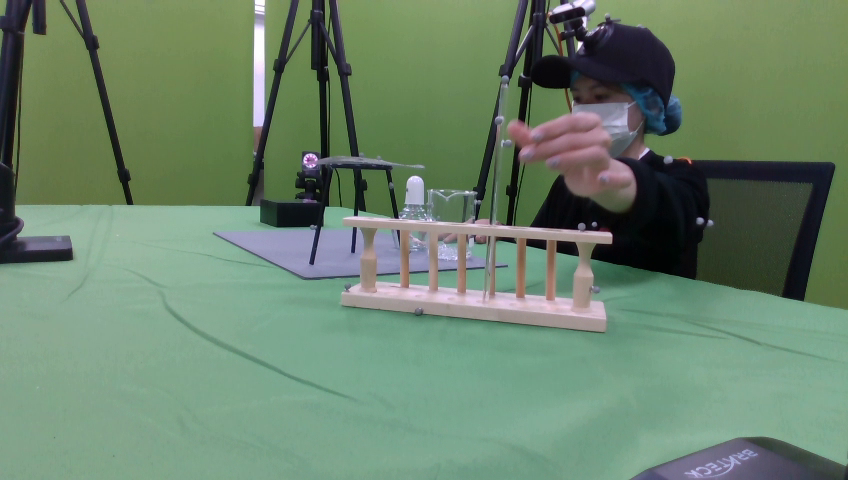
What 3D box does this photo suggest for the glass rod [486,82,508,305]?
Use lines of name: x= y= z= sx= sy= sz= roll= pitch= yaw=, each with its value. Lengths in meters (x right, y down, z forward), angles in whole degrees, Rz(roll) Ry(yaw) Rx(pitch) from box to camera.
glass rod: x=0.063 y=-0.035 z=0.528 sx=0.008 sy=0.199 sz=0.008 roll=2 pitch=13 yaw=0

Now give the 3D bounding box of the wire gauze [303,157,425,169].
wire gauze: x=-0.082 y=-0.102 z=0.799 sx=0.126 sy=0.011 sz=0.121 roll=-1 pitch=7 yaw=-30

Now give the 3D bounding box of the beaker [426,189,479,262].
beaker: x=0.039 y=-0.022 z=0.871 sx=0.074 sy=0.100 sz=0.084 roll=4 pitch=8 yaw=12

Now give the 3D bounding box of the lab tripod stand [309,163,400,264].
lab tripod stand: x=-0.091 y=-0.037 z=0.813 sx=0.148 sy=0.131 sz=0.148 roll=1 pitch=6 yaw=0

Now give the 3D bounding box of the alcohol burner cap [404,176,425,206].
alcohol burner cap: x=-0.015 y=-0.077 z=0.951 sx=0.034 sy=0.048 sz=0.034 roll=2 pitch=4 yaw=0

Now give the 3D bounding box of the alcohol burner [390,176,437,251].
alcohol burner: x=-0.016 y=-0.042 z=0.955 sx=0.078 sy=0.119 sz=0.078 roll=4 pitch=5 yaw=0

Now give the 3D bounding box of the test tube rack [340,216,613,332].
test tube rack: x=0.047 y=0.026 z=0.568 sx=0.242 sy=0.085 sz=0.067 roll=4 pitch=7 yaw=13
